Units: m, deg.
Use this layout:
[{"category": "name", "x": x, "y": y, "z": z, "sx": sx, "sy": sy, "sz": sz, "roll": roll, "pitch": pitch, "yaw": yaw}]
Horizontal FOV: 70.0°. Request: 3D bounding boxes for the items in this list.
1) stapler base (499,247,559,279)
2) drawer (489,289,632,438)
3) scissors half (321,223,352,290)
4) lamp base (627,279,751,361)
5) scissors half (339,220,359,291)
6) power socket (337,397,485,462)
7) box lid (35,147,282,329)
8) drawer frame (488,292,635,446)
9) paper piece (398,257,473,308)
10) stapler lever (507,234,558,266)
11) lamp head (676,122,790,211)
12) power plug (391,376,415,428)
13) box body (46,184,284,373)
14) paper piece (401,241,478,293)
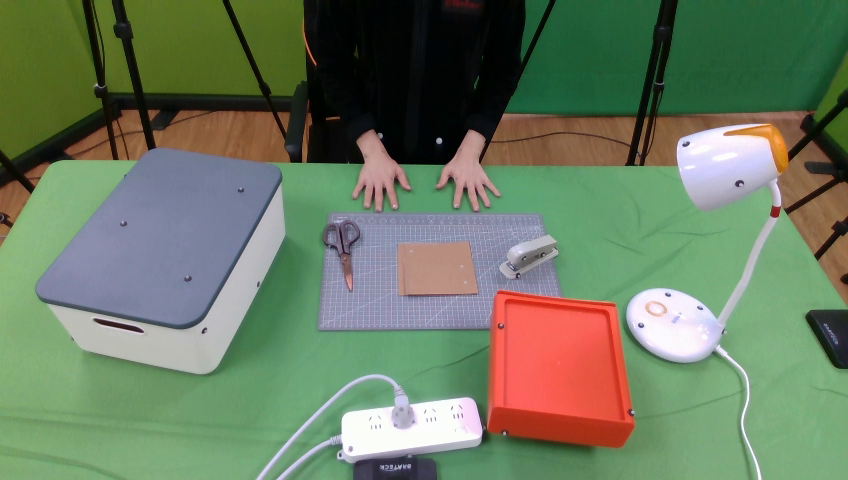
[{"category": "stapler base", "x": 0.206, "y": 0.033, "z": 1.178, "sx": 0.130, "sy": 0.024, "sz": 0.041, "roll": -24, "pitch": 56, "yaw": -27}, {"category": "drawer", "x": 0.203, "y": 0.185, "z": 0.934, "sx": 0.194, "sy": 0.073, "sz": 0.210, "roll": 7, "pitch": 47, "yaw": 1}, {"category": "scissors half", "x": -0.163, "y": 0.030, "z": 1.159, "sx": 0.040, "sy": 0.013, "sz": 0.174, "roll": -16, "pitch": 50, "yaw": -14}, {"category": "lamp base", "x": 0.460, "y": 0.100, "z": 1.027, "sx": 0.178, "sy": 0.181, "sz": 0.160, "roll": 27, "pitch": 51, "yaw": 17}, {"category": "scissors half", "x": -0.144, "y": 0.026, "z": 1.162, "sx": 0.040, "sy": 0.013, "sz": 0.174, "roll": -7, "pitch": 50, "yaw": 1}, {"category": "power socket", "x": -0.018, "y": 0.285, "z": 0.915, "sx": 0.227, "sy": 0.033, "sz": 0.071, "roll": -4, "pitch": 46, "yaw": -8}, {"category": "box lid", "x": -0.411, "y": -0.023, "z": 0.988, "sx": 0.263, "sy": 0.015, "sz": 0.369, "roll": 10, "pitch": 47, "yaw": 5}, {"category": "drawer frame", "x": 0.204, "y": 0.191, "z": 0.931, "sx": 0.202, "sy": 0.083, "sz": 0.212, "roll": 7, "pitch": 45, "yaw": 2}, {"category": "paper piece", "x": 0.025, "y": 0.065, "z": 1.157, "sx": 0.135, "sy": 0.004, "sz": 0.135, "roll": 12, "pitch": 44, "yaw": -2}, {"category": "stapler lever", "x": 0.209, "y": 0.015, "z": 1.161, "sx": 0.118, "sy": 0.040, "sz": 0.026, "roll": -25, "pitch": 56, "yaw": -27}, {"category": "lamp head", "x": 0.423, "y": -0.104, "z": 0.819, "sx": 0.122, "sy": 0.113, "sz": 0.112, "roll": -13, "pitch": 33, "yaw": 40}, {"category": "power plug", "x": -0.030, "y": 0.249, "z": 0.917, "sx": 0.035, "sy": 0.053, "sz": 0.072, "roll": 3, "pitch": 46, "yaw": 0}, {"category": "box body", "x": -0.414, "y": 0.029, "z": 1.040, "sx": 0.254, "sy": 0.161, "sz": 0.362, "roll": 10, "pitch": 46, "yaw": 5}, {"category": "paper piece", "x": 0.028, "y": 0.051, "z": 1.156, "sx": 0.136, "sy": 0.009, "sz": 0.137, "roll": 2, "pitch": 44, "yaw": -8}]
